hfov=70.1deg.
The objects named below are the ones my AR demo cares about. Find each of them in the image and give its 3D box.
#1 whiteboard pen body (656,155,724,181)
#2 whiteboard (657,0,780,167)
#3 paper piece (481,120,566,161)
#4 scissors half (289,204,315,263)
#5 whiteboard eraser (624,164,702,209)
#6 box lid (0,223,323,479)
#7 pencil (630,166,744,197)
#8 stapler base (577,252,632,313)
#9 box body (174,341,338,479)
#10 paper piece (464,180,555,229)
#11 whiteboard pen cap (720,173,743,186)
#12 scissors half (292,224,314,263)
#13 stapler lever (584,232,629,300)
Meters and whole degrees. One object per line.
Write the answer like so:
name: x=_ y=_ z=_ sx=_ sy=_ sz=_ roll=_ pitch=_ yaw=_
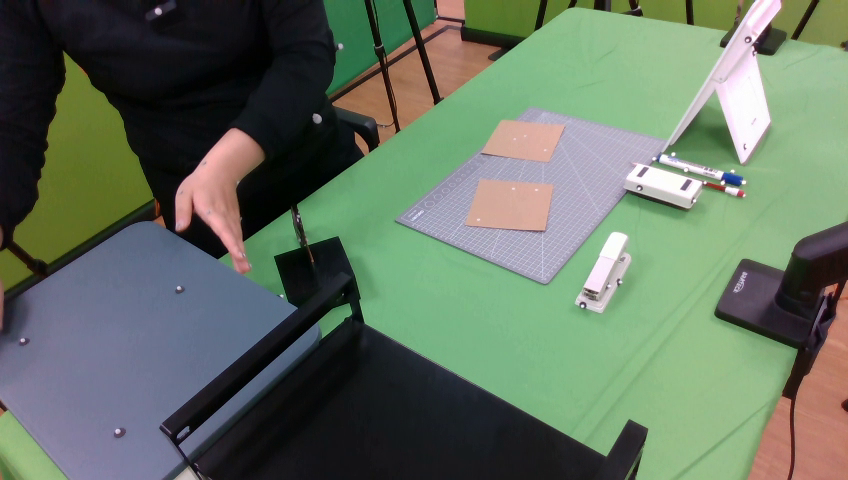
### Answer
whiteboard pen body: x=0.475 y=-0.123 z=1.052 sx=0.139 sy=0.017 sz=0.017 roll=24 pitch=50 yaw=32
whiteboard: x=0.571 y=-0.272 z=1.038 sx=0.143 sy=0.306 sz=0.218 roll=36 pitch=54 yaw=17
paper piece: x=0.197 y=-0.199 z=1.188 sx=0.135 sy=0.004 sz=0.135 roll=11 pitch=44 yaw=21
scissors half: x=-0.190 y=-0.011 z=0.944 sx=0.013 sy=0.040 sz=0.173 roll=-14 pitch=37 yaw=-17
whiteboard eraser: x=0.396 y=-0.087 z=1.003 sx=0.112 sy=0.042 sz=0.056 roll=22 pitch=48 yaw=31
box lid: x=-0.318 y=0.109 z=0.671 sx=0.368 sy=0.015 sz=0.264 roll=24 pitch=49 yaw=31
pencil: x=0.447 y=-0.103 z=1.039 sx=0.192 sy=0.012 sz=0.012 roll=21 pitch=48 yaw=30
stapler base: x=0.264 y=0.051 z=0.875 sx=0.041 sy=0.024 sz=0.131 roll=16 pitch=47 yaw=30
box body: x=-0.311 y=0.165 z=0.720 sx=0.361 sy=0.161 sz=0.255 roll=23 pitch=49 yaw=32
paper piece: x=0.149 y=-0.062 z=1.035 sx=0.137 sy=0.009 sz=0.136 roll=5 pitch=37 yaw=17
whiteboard pen cap: x=0.519 y=-0.103 z=1.020 sx=0.033 sy=0.018 sz=0.018 roll=23 pitch=49 yaw=30
scissors half: x=-0.188 y=0.007 z=0.954 sx=0.013 sy=0.040 sz=0.174 roll=-19 pitch=21 yaw=-14
stapler lever: x=0.260 y=0.034 z=0.858 sx=0.026 sy=0.040 sz=0.118 roll=16 pitch=46 yaw=30
